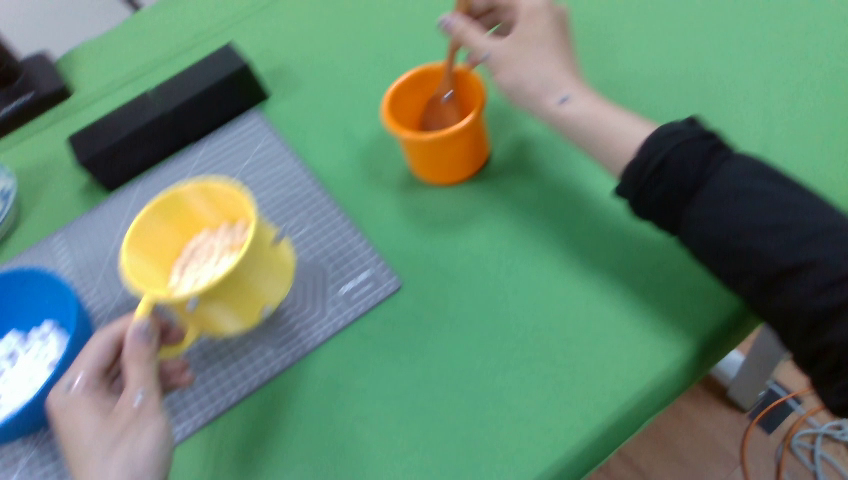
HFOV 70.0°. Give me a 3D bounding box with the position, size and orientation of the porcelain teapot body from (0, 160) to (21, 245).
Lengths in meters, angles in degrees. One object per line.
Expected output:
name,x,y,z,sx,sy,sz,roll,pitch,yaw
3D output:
porcelain teapot body,-0.543,-0.058,0.567,0.205,0.227,0.143,-31,56,-5

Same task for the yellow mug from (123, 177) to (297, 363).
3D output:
yellow mug,-0.157,0.026,0.430,0.099,0.064,0.130,14,65,23

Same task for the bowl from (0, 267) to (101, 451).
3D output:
bowl,-0.320,0.105,0.486,0.151,0.077,0.150,-7,56,10

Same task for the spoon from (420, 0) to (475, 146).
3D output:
spoon,0.029,-0.160,0.502,0.041,0.195,0.021,32,49,16
